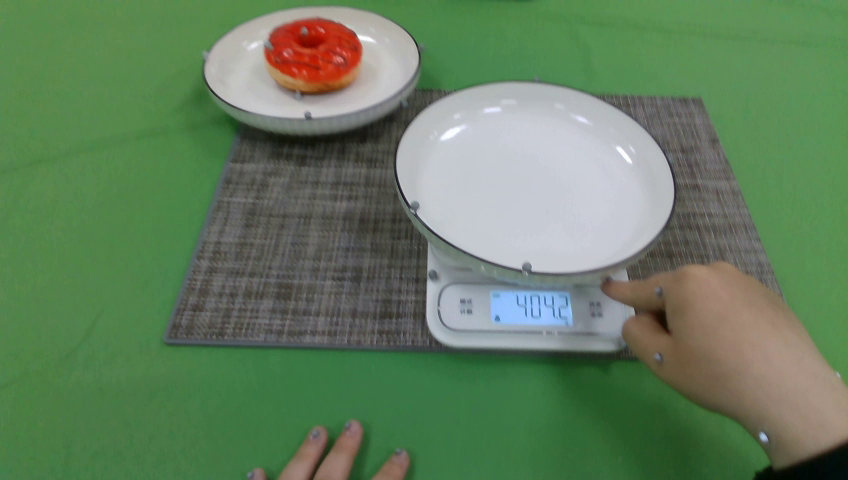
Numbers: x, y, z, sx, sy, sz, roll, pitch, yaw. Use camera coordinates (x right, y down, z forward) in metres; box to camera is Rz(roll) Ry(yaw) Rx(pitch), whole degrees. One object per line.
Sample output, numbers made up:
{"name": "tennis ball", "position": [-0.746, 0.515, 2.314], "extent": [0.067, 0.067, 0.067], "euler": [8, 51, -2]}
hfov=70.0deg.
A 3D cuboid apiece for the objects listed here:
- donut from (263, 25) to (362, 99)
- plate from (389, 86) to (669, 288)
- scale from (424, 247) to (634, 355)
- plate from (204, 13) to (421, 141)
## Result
{"name": "donut", "position": [-0.110, -0.176, 0.603], "extent": [0.099, 0.048, 0.098], "euler": [2, 47, -1]}
{"name": "plate", "position": [0.077, -0.043, 0.466], "extent": [0.208, 0.039, 0.205], "euler": [1, 49, -1]}
{"name": "scale", "position": [0.077, -0.004, 0.476], "extent": [0.149, 0.032, 0.199], "euler": [2, 50, 0]}
{"name": "plate", "position": [-0.108, -0.161, 0.604], "extent": [0.209, 0.038, 0.207], "euler": [1, 47, 0]}
